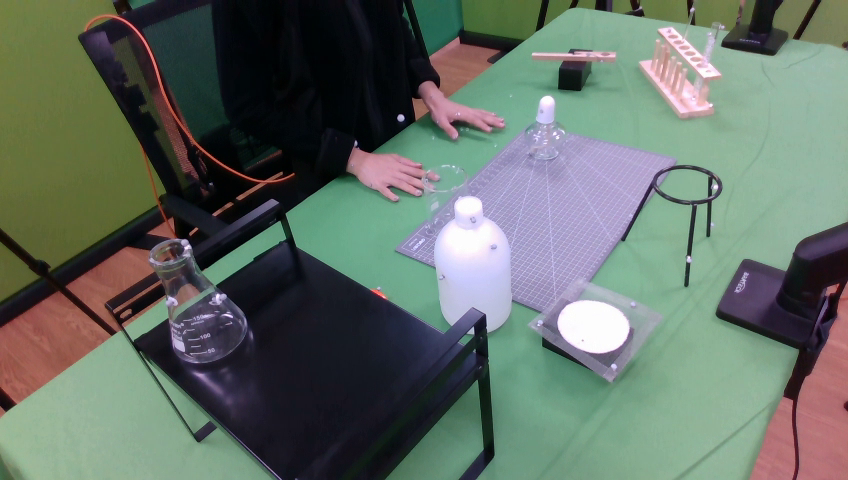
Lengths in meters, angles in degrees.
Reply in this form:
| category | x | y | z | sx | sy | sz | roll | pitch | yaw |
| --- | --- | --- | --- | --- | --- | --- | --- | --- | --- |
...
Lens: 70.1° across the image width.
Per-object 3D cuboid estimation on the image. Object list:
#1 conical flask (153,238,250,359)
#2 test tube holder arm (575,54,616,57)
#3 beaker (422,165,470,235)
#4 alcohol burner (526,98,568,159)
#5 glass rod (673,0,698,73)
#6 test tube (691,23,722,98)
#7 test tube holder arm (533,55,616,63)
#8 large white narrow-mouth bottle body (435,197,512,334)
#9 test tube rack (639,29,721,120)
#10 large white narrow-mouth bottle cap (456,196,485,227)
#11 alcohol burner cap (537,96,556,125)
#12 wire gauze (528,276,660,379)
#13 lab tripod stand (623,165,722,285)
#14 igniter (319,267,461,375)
| category | x | y | z | sx | sy | sz | roll | pitch | yaw |
| --- | --- | --- | --- | --- | --- | --- | --- | --- | --- |
| conical flask | -0.225 | 0.055 | 0.597 | 0.075 | 0.122 | 0.075 | -5 | 41 | 4 |
| test tube holder arm | 0.373 | -0.398 | 1.318 | 0.087 | 0.015 | 0.010 | 5 | 51 | 15 |
| beaker | 0.041 | -0.063 | 0.986 | 0.073 | 0.101 | 0.084 | 20 | 47 | 29 |
| alcohol burner | 0.228 | -0.210 | 1.118 | 0.078 | 0.119 | 0.077 | -5 | 43 | 5 |
| glass rod | 0.537 | -0.425 | 1.244 | 0.008 | 0.200 | 0.008 | 0 | 47 | 0 |
| test tube | 0.547 | -0.345 | 1.173 | 0.017 | 0.151 | 0.017 | 0 | 42 | 0 |
| test tube holder arm | 0.329 | -0.398 | 1.327 | 0.178 | 0.015 | 0.013 | 5 | 50 | 15 |
| large white narrow-mouth bottle body | 0.066 | 0.028 | 0.805 | 0.102 | 0.195 | 0.101 | -4 | 40 | 4 |
| test tube rack | 0.527 | -0.351 | 1.262 | 0.067 | 0.085 | 0.241 | -8 | 40 | 1 |
| large white narrow-mouth bottle cap | 0.057 | -0.036 | 0.749 | 0.038 | 0.024 | 0.037 | -4 | 40 | 4 |
| alcohol burner cap | 0.223 | -0.237 | 1.095 | 0.034 | 0.048 | 0.033 | -1 | 42 | 1 |
| wire gauze | 0.213 | 0.103 | 0.763 | 0.124 | 0.011 | 0.122 | 30 | 53 | 35 |
| lab tripod stand | 0.365 | -0.030 | 0.874 | 0.148 | 0.132 | 0.147 | -6 | 41 | 6 |
| igniter | -0.060 | 0.108 | 0.862 | 0.274 | 0.025 | 0.057 | 28 | 62 | 35 |
